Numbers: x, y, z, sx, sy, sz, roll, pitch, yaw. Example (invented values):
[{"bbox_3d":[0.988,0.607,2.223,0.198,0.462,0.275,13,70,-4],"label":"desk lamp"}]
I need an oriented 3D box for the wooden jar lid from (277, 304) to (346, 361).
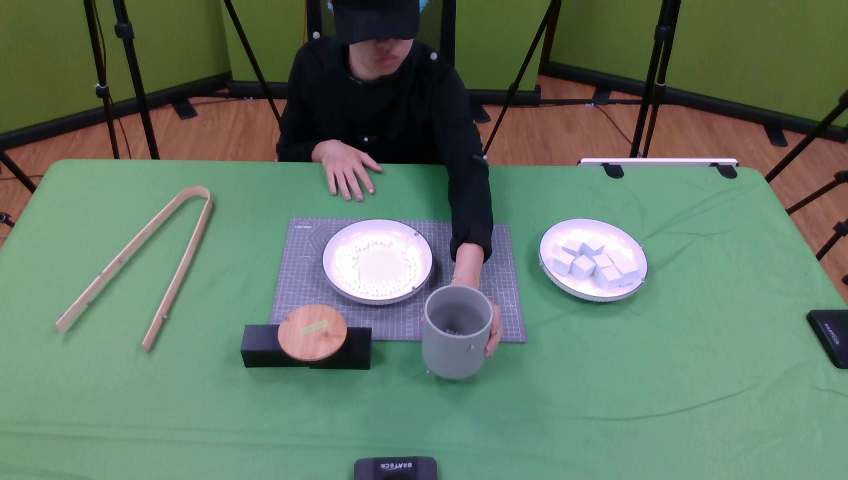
[{"bbox_3d":[-0.179,0.150,0.972,0.108,0.021,0.107,2,45,-2],"label":"wooden jar lid"}]

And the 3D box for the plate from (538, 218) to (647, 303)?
[{"bbox_3d":[0.322,0.042,1.171,0.208,0.039,0.206,2,46,-2],"label":"plate"}]

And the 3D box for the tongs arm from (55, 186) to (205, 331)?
[{"bbox_3d":[-0.530,0.022,1.125,0.051,0.026,0.383,15,46,8],"label":"tongs arm"}]

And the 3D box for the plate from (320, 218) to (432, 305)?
[{"bbox_3d":[-0.089,0.044,1.134,0.209,0.038,0.208,3,46,-2],"label":"plate"}]

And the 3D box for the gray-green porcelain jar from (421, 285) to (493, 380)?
[{"bbox_3d":[0.048,0.151,0.955,0.106,0.127,0.105,2,45,-2],"label":"gray-green porcelain jar"}]

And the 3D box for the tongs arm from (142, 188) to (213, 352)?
[{"bbox_3d":[-0.450,0.040,1.122,0.028,0.028,0.385,2,46,1],"label":"tongs arm"}]
